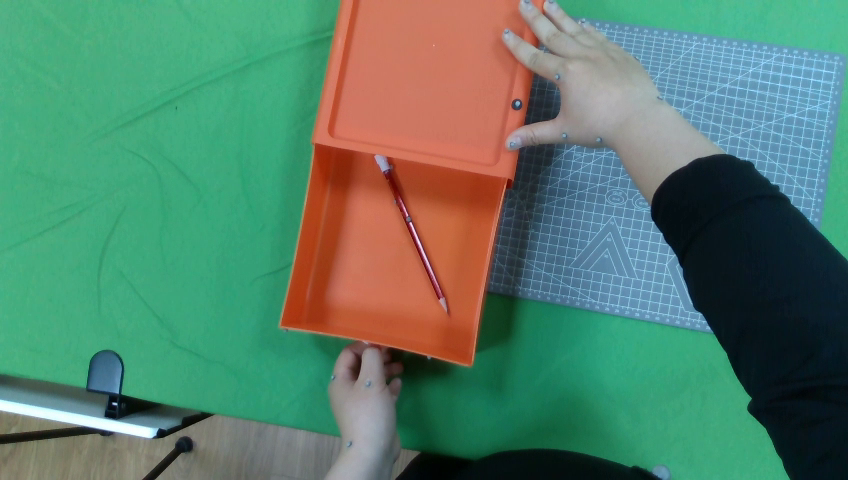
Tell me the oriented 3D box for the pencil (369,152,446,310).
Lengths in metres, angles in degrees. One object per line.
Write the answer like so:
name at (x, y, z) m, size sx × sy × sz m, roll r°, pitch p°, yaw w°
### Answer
pencil at (-0.017, -0.015, 0.636) m, size 0.012 × 0.012 × 0.194 m, roll -24°, pitch 89°, yaw 4°

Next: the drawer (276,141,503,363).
drawer at (-0.030, 0.002, 0.611) m, size 0.194 × 0.073 × 0.211 m, roll 10°, pitch 90°, yaw 7°

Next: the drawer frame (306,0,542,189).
drawer frame at (0.005, -0.175, 0.610) m, size 0.201 × 0.083 × 0.213 m, roll 10°, pitch 88°, yaw 6°
